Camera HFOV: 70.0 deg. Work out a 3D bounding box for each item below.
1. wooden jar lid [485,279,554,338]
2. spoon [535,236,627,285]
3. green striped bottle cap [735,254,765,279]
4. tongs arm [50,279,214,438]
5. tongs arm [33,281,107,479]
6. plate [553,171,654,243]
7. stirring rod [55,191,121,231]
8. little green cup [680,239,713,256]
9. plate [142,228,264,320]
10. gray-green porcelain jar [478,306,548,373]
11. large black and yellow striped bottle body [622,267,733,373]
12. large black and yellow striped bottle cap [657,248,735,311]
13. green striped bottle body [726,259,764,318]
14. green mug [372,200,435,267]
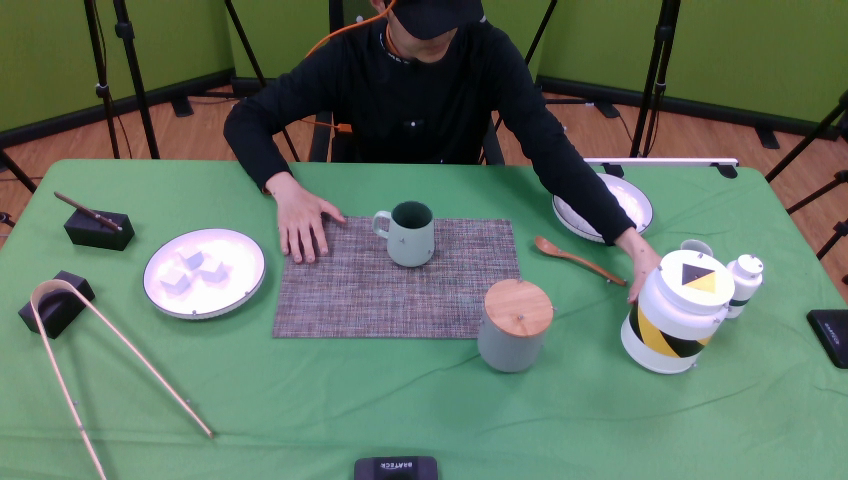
[{"bbox_3d":[0.147,0.108,0.940,0.108,0.021,0.107,4,47,-4],"label":"wooden jar lid"},{"bbox_3d":[0.303,0.040,1.178,0.193,0.022,0.041,25,33,19],"label":"spoon"},{"bbox_3d":[0.566,0.046,1.051,0.044,0.020,0.044,0,45,0],"label":"green striped bottle cap"},{"bbox_3d":[-0.459,0.178,0.949,0.386,0.028,0.028,37,60,17],"label":"tongs arm"},{"bbox_3d":[-0.517,0.214,0.909,0.051,0.026,0.383,-29,63,-27],"label":"tongs arm"},{"bbox_3d":[0.374,-0.066,1.275,0.209,0.038,0.208,2,46,-2],"label":"plate"},{"bbox_3d":[-0.632,-0.055,1.138,0.175,0.014,0.006,24,50,19],"label":"stirring rod"},{"bbox_3d":[0.530,0.033,1.189,0.061,0.039,0.061,3,47,-3],"label":"little green cup"},{"bbox_3d":[-0.394,0.064,1.095,0.208,0.039,0.206,2,46,-2],"label":"plate"},{"bbox_3d":[0.144,0.148,0.989,0.106,0.127,0.105,2,50,-2],"label":"gray-green porcelain jar"},{"bbox_3d":[0.415,0.119,0.996,0.131,0.185,0.130,3,46,-3],"label":"large black and yellow striped bottle body"},{"bbox_3d":[0.421,0.060,0.938,0.115,0.019,0.114,3,48,-3],"label":"large black and yellow striped bottle cap"},{"bbox_3d":[0.563,0.081,1.089,0.063,0.120,0.063,2,46,-2],"label":"green striped bottle body"},{"bbox_3d":[-0.040,-0.015,1.145,0.125,0.105,0.092,16,48,12],"label":"green mug"}]
